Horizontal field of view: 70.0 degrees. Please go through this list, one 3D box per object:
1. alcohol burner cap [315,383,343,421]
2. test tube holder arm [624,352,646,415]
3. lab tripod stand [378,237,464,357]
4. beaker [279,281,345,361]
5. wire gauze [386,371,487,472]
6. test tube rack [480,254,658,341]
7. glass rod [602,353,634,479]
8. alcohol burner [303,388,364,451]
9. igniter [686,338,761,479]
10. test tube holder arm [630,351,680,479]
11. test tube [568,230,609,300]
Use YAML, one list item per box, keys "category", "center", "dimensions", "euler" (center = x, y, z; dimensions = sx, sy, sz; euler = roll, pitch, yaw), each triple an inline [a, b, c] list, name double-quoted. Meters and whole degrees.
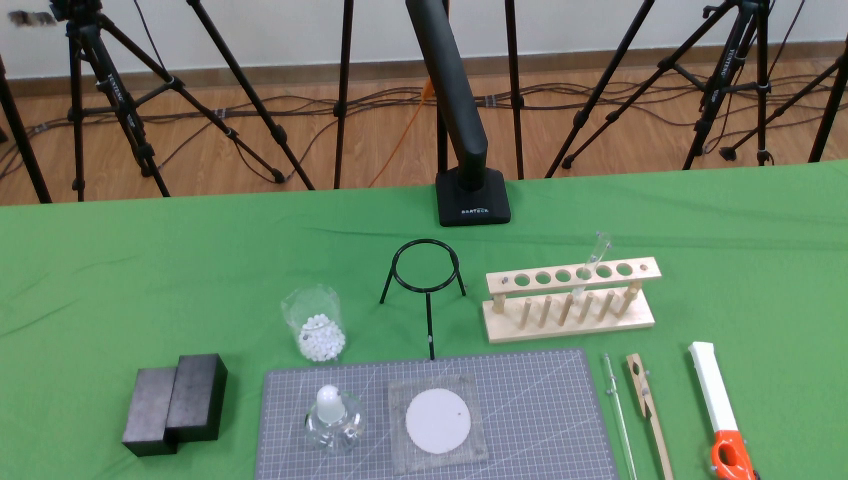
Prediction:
- category: "alcohol burner cap"
  center: [-0.114, 0.189, 0.719]
  dimensions: [0.034, 0.048, 0.033]
  euler: [1, 43, -1]
- category: "test tube holder arm"
  center: [0.291, 0.194, 0.826]
  dimensions: [0.010, 0.015, 0.087]
  euler: [-29, 47, 26]
- category: "lab tripod stand"
  center: [-0.004, 0.070, 0.848]
  dimensions: [0.148, 0.133, 0.147]
  euler: [-1, 51, 2]
- category: "beaker"
  center: [-0.152, 0.115, 0.836]
  dimensions: [0.084, 0.101, 0.073]
  euler: [11, 52, 9]
- category: "wire gauze"
  center: [0.013, 0.234, 0.797]
  dimensions: [0.121, 0.011, 0.124]
  euler: [-5, 55, -5]
- category: "test tube rack"
  center: [0.208, 0.083, 0.869]
  dimensions: [0.242, 0.086, 0.066]
  euler: [-6, 52, -4]
- category: "glass rod"
  center: [0.256, 0.241, 0.795]
  dimensions: [0.008, 0.008, 0.197]
  euler: [-1, 55, -1]
- category: "alcohol burner"
  center: [-0.114, 0.213, 0.747]
  dimensions: [0.078, 0.120, 0.077]
  euler: [-1, 50, 1]
- category: "igniter"
  center: [0.385, 0.251, 0.774]
  dimensions: [0.057, 0.025, 0.274]
  euler: [7, 52, -7]
- category: "test tube holder arm"
  center: [0.300, 0.227, 0.795]
  dimensions: [0.013, 0.015, 0.176]
  euler: [-30, 46, 25]
- category: "test tube"
  center: [0.225, 0.039, 0.841]
  dimensions: [0.017, 0.151, 0.017]
  euler: [4, 51, -4]
